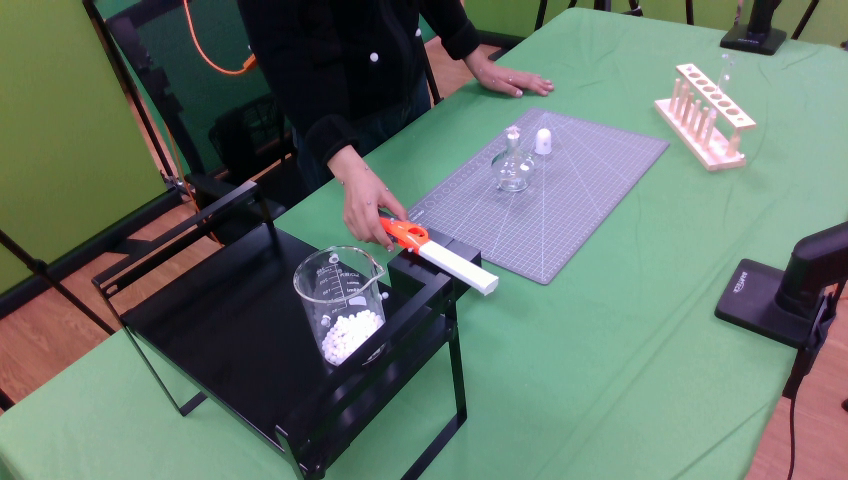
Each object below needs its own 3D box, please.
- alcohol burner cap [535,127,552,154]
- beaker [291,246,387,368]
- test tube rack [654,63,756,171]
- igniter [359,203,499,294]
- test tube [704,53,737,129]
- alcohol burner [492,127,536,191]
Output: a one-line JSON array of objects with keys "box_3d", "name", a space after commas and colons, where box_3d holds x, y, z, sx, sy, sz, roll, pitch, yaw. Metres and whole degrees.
[{"box_3d": [0.227, -0.190, 1.142, 0.034, 0.048, 0.033, -3, 40, 3], "name": "alcohol burner cap"}, {"box_3d": [-0.073, 0.066, 0.573, 0.084, 0.101, 0.073, -7, 41, 0], "name": "beaker"}, {"box_3d": [0.510, -0.233, 1.120, 0.067, 0.085, 0.241, -8, 41, -1], "name": "test tube rack"}, {"box_3d": [-0.004, 0.005, 0.892, 0.274, 0.025, 0.057, 30, 45, 35], "name": "igniter"}, {"box_3d": [0.526, -0.261, 1.074, 0.017, 0.151, 0.017, -2, 44, 2], "name": "test tube"}, {"box_3d": [0.156, -0.146, 1.046, 0.078, 0.119, 0.077, -4, 43, 4], "name": "alcohol burner"}]
